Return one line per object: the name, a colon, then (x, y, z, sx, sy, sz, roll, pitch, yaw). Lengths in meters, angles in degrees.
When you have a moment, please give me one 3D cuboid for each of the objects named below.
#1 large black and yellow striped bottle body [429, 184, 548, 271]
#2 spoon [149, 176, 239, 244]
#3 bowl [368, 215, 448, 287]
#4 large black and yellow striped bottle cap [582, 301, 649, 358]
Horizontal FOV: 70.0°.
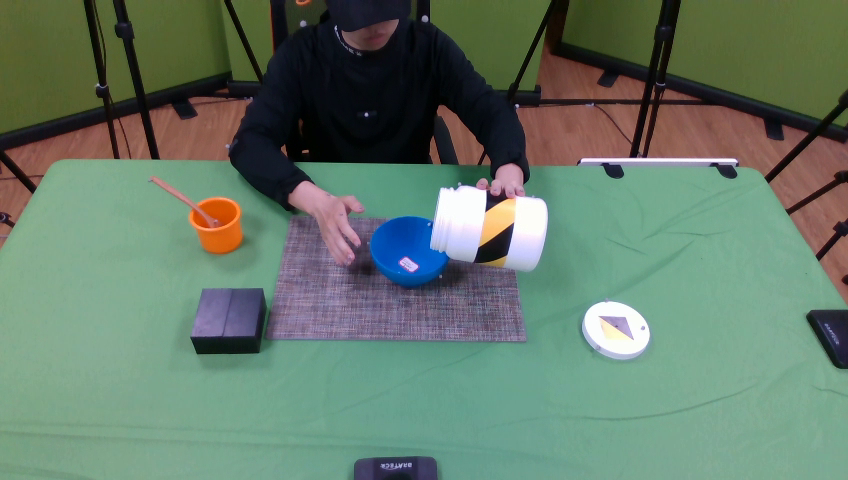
large black and yellow striped bottle body: (0.106, -0.023, 1.039, 0.184, 0.131, 0.130, 10, 46, -2)
spoon: (-0.427, -0.057, 1.132, 0.021, 0.195, 0.041, -27, 31, 33)
bowl: (-0.028, 0.033, 1.120, 0.151, 0.077, 0.150, 2, 46, -2)
large black and yellow striped bottle cap: (0.340, 0.157, 1.077, 0.115, 0.019, 0.114, 1, 47, -1)
